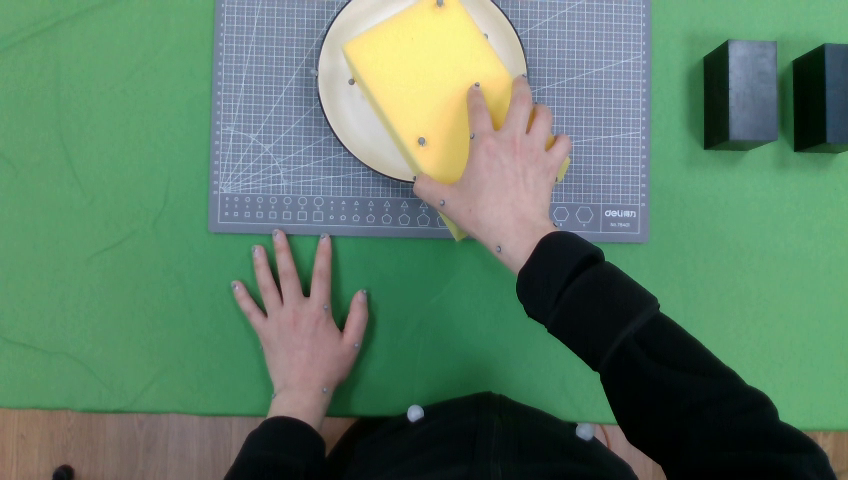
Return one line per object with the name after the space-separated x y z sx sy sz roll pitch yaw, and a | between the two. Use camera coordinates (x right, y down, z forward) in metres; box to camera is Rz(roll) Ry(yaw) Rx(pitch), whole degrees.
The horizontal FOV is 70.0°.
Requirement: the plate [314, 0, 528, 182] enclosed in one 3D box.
-0.002 -0.159 0.607 0.209 0.038 0.209 0 88 -4 | plate

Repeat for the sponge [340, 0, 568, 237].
0.025 -0.121 0.569 0.118 0.061 0.206 -32 78 -5 | sponge
